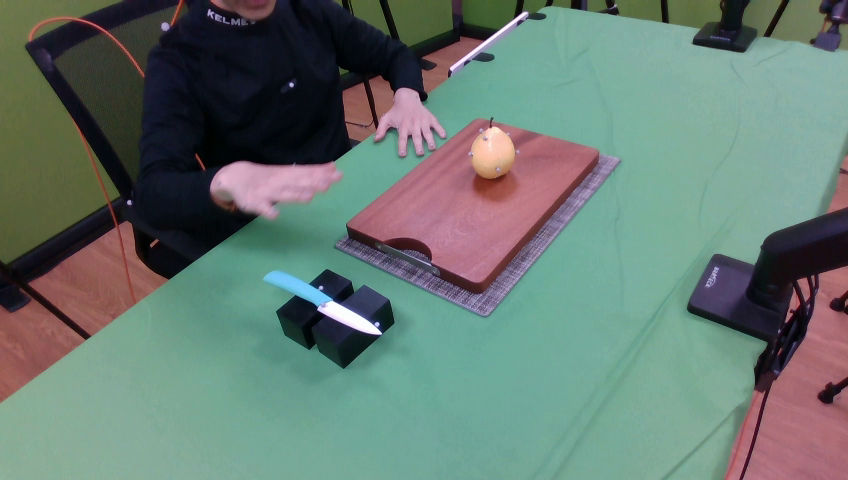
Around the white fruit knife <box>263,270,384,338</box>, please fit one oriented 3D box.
[{"bbox_3d":[-0.137,0.086,0.821,0.206,0.016,0.027,24,62,26],"label":"white fruit knife"}]

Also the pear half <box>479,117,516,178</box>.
[{"bbox_3d":[0.126,-0.166,1.031,0.056,0.110,0.075,-34,51,-29],"label":"pear half"}]

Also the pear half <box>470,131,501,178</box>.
[{"bbox_3d":[0.099,-0.141,1.022,0.031,0.088,0.070,-35,54,-30],"label":"pear half"}]
